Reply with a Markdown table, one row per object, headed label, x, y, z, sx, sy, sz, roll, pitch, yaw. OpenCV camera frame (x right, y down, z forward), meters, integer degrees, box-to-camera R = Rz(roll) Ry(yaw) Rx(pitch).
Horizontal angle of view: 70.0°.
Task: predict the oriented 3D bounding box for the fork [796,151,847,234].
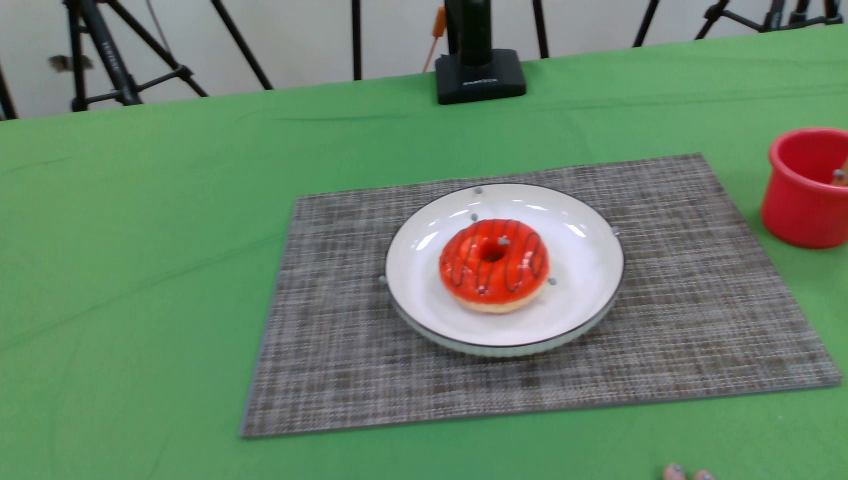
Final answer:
| label | x | y | z | sx | sy | sz | roll | pitch | yaw |
| --- | --- | --- | --- | --- | --- | --- | --- | --- | --- |
| fork | 0.392 | -0.096 | 0.534 | 0.019 | 0.207 | 0.028 | 23 | 8 | -19 |

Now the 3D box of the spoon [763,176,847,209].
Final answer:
| label | x | y | z | sx | sy | sz | roll | pitch | yaw |
| --- | --- | --- | --- | --- | --- | --- | --- | --- | --- |
| spoon | 0.366 | -0.051 | 0.498 | 0.041 | 0.193 | 0.021 | -35 | 93 | -18 |

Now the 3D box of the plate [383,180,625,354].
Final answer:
| label | x | y | z | sx | sy | sz | roll | pitch | yaw |
| --- | --- | --- | --- | --- | --- | --- | --- | --- | --- |
| plate | 0.070 | 0.022 | 0.540 | 0.209 | 0.038 | 0.207 | -4 | 42 | 4 |

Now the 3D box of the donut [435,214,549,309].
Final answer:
| label | x | y | z | sx | sy | sz | roll | pitch | yaw |
| --- | --- | --- | --- | --- | --- | --- | --- | --- | --- |
| donut | 0.060 | 0.018 | 0.529 | 0.099 | 0.049 | 0.098 | -5 | 45 | 6 |
